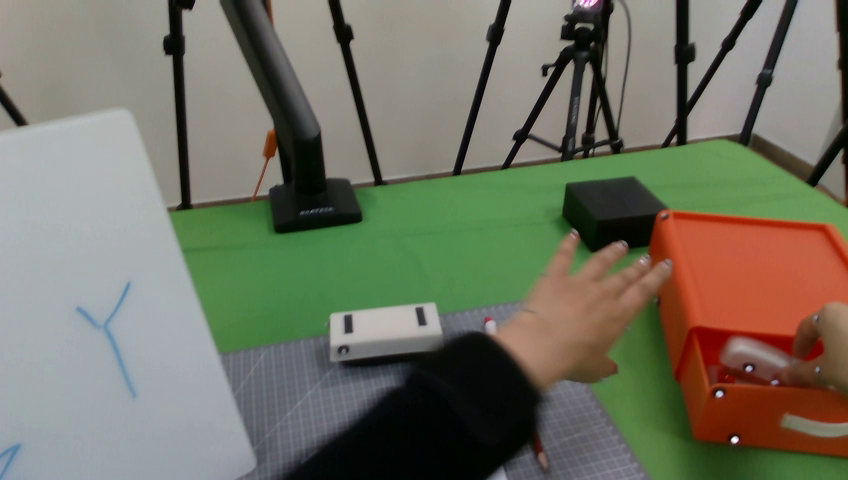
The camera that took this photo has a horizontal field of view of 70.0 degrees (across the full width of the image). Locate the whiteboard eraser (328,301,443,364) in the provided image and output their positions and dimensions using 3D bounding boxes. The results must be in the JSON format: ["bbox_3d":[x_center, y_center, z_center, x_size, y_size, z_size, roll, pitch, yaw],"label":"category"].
[{"bbox_3d":[-0.040,0.094,0.609,0.113,0.042,0.055,-5,35,-7],"label":"whiteboard eraser"}]

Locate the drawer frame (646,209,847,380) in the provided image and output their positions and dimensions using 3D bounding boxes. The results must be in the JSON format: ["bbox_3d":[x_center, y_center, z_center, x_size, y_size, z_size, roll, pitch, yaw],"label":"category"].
[{"bbox_3d":[0.351,0.059,0.632,0.201,0.083,0.212,5,33,8],"label":"drawer frame"}]

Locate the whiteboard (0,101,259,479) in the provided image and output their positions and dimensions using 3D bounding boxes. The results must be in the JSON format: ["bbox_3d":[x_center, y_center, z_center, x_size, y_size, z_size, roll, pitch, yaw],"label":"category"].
[{"bbox_3d":[-0.290,0.072,0.458,0.218,0.307,0.142,-22,20,-28],"label":"whiteboard"}]

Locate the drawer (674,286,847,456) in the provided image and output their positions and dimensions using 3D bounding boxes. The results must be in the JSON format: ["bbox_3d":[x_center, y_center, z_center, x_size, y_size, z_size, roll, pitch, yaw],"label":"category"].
[{"bbox_3d":[0.341,0.098,0.577,0.194,0.074,0.210,4,33,8],"label":"drawer"}]

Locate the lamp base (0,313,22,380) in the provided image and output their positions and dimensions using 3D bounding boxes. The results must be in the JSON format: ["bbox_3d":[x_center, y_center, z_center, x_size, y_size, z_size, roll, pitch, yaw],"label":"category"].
[{"bbox_3d":[-0.490,0.055,0.543,0.178,0.182,0.160,14,36,23],"label":"lamp base"}]

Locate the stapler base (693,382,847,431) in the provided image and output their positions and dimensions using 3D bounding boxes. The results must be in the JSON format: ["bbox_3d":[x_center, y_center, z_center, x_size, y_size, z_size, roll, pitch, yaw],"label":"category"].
[{"bbox_3d":[0.318,0.145,0.555,0.130,0.024,0.041,6,24,12],"label":"stapler base"}]

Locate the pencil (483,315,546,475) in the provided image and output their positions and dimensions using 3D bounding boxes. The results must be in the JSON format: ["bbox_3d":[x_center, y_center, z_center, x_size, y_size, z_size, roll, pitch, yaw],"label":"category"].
[{"bbox_3d":[0.084,0.138,0.575,0.012,0.012,0.192,-5,36,-8],"label":"pencil"}]

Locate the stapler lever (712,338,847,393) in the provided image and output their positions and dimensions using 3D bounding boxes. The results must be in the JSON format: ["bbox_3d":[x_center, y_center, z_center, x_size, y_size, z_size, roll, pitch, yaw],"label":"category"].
[{"bbox_3d":[0.321,0.118,0.544,0.118,0.040,0.026,10,25,11],"label":"stapler lever"}]
